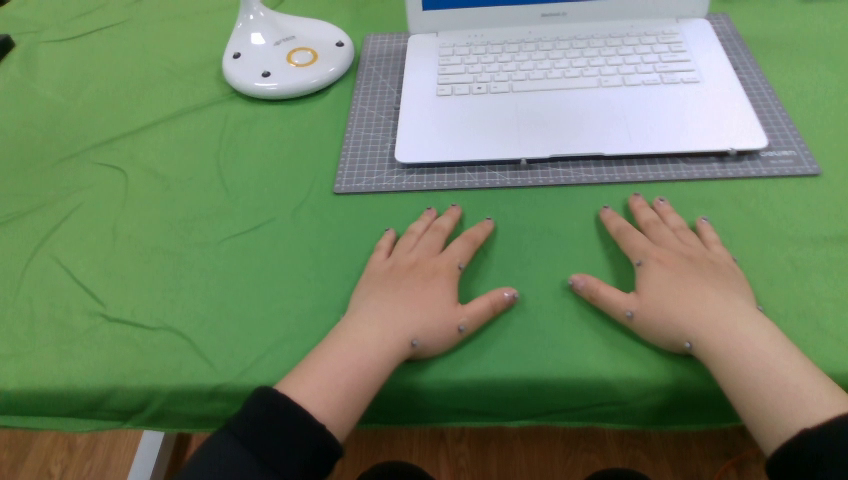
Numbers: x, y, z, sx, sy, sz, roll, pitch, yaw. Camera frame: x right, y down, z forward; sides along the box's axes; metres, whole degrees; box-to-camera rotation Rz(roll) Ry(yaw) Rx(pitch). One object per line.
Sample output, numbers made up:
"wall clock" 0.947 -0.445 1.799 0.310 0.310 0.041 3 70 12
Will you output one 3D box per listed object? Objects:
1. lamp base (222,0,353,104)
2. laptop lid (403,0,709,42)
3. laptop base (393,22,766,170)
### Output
"lamp base" -0.183 -0.274 0.691 0.177 0.182 0.160 29 57 32
"laptop lid" 0.145 -0.336 0.657 0.356 0.244 0.013 -3 39 6
"laptop base" 0.149 -0.157 0.654 0.354 0.023 0.233 -2 50 5
